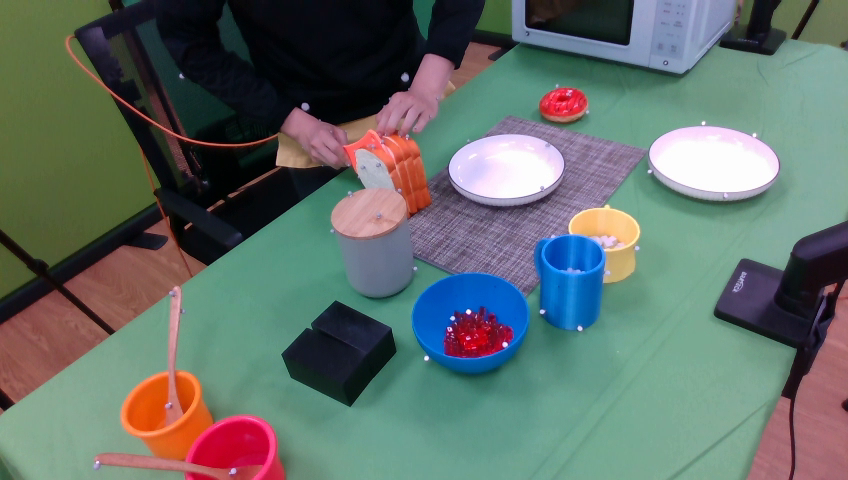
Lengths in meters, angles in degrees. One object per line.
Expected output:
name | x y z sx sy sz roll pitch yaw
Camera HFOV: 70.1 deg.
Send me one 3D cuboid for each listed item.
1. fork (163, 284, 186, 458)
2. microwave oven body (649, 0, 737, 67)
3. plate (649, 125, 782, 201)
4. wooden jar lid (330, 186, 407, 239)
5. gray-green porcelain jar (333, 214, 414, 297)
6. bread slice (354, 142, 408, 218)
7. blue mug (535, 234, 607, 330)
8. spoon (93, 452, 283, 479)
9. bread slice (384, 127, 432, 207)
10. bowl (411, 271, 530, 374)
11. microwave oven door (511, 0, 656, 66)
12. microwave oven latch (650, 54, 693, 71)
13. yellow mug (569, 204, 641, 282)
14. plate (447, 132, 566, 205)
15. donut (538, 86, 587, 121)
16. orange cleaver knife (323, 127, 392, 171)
fork | -0.302 0.157 0.733 0.028 0.019 0.207 -3 84 16
microwave oven body | 0.475 -0.602 1.411 0.438 0.261 0.327 23 50 32
plate | 0.493 -0.127 1.036 0.207 0.039 0.206 -4 40 4
wooden jar lid | -0.077 -0.035 0.847 0.108 0.021 0.108 -6 41 5
gray-green porcelain jar | -0.071 0.012 0.887 0.106 0.127 0.105 -4 41 4
bread slice | -0.078 -0.103 1.021 0.019 0.132 0.104 -37 45 -28
blue mug | 0.191 0.048 0.824 0.082 0.106 0.115 -26 44 -20
spoon | -0.240 0.239 0.632 0.195 0.021 0.041 26 32 -32
bread slice | -0.031 -0.128 1.046 0.018 0.135 0.106 -31 46 -24
bowl | 0.061 0.120 0.780 0.151 0.077 0.150 -4 40 4
microwave oven door | 0.351 -0.539 1.349 0.353 0.245 0.039 24 50 31
microwave oven latch | 0.531 -0.386 1.301 0.078 0.029 0.030 26 51 33
yellow mug | 0.268 -0.005 0.904 0.099 0.064 0.130 7 41 15
plate | 0.146 -0.124 1.076 0.209 0.038 0.208 -3 41 3
donut | 0.283 -0.280 1.239 0.099 0.048 0.098 -5 42 5
orange cleaver knife | -0.119 -0.148 1.057 0.012 0.077 0.209 -34 19 -29
